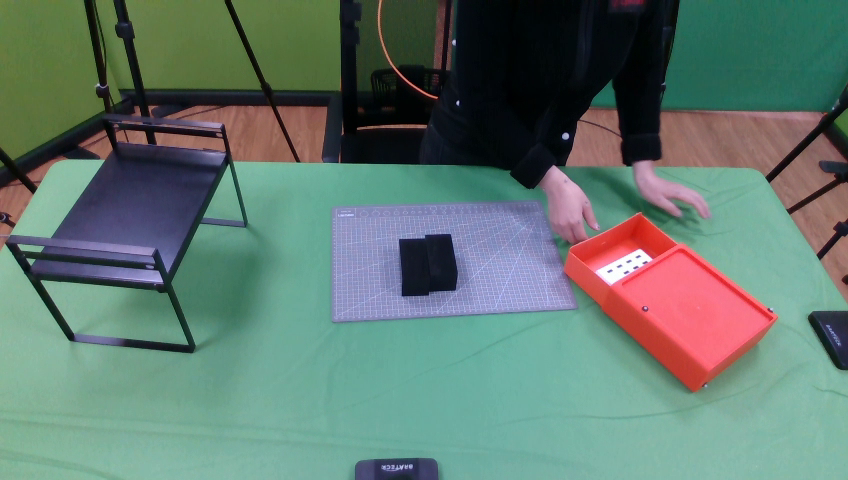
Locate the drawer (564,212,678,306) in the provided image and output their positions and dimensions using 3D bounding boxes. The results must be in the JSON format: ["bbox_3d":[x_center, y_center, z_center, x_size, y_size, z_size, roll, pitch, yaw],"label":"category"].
[{"bbox_3d":[0.404,0.064,1.124,0.194,0.073,0.210,-23,52,-25],"label":"drawer"}]

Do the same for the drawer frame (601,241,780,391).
[{"bbox_3d":[0.462,0.125,1.065,0.202,0.083,0.212,-26,54,-26],"label":"drawer frame"}]

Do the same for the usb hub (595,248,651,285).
[{"bbox_3d":[0.383,0.061,1.154,0.125,0.025,0.049,-24,53,-22],"label":"usb hub"}]
